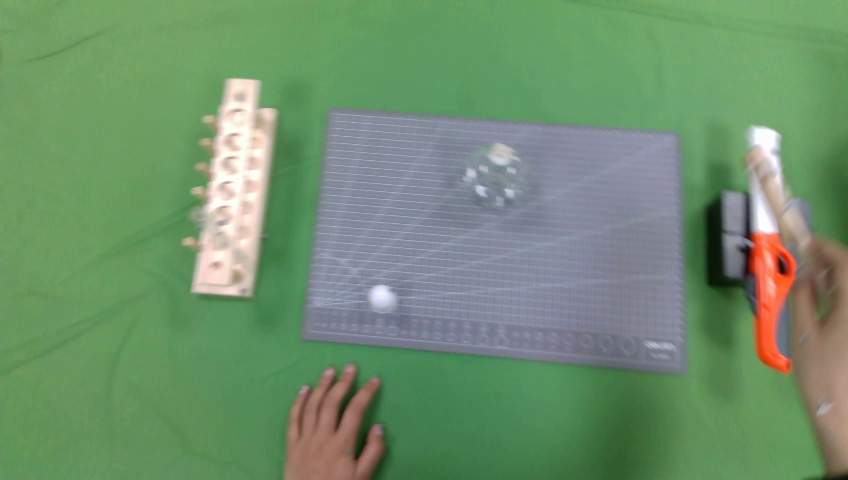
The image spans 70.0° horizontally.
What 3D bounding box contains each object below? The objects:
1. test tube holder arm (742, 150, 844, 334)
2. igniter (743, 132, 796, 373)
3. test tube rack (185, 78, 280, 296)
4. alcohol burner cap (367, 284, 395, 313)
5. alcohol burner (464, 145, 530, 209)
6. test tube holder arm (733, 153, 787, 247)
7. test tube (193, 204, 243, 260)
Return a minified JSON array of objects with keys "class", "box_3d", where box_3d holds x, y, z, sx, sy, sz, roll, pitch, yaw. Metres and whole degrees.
[{"class":"test tube holder arm","box_3d":[0.322,0.002,0.529,0.013,0.015,0.178,-29,92,1]},{"class":"igniter","box_3d":[0.385,0.008,0.677,0.057,0.025,0.275,7,73,-1]},{"class":"test tube rack","box_3d":[-0.230,-0.062,0.714,0.067,0.085,0.241,5,76,2]},{"class":"alcohol burner cap","box_3d":[-0.051,0.066,0.702,0.034,0.048,0.033,0,77,-1]},{"class":"alcohol burner","box_3d":[0.086,-0.079,0.700,0.078,0.119,0.077,0,76,2]},{"class":"test tube holder arm","box_3d":[0.296,-0.034,0.528,0.010,0.015,0.088,-29,92,1]},{"class":"test tube","box_3d":[-0.217,-0.005,0.649,0.017,0.151,0.017,1,72,-3]}]
